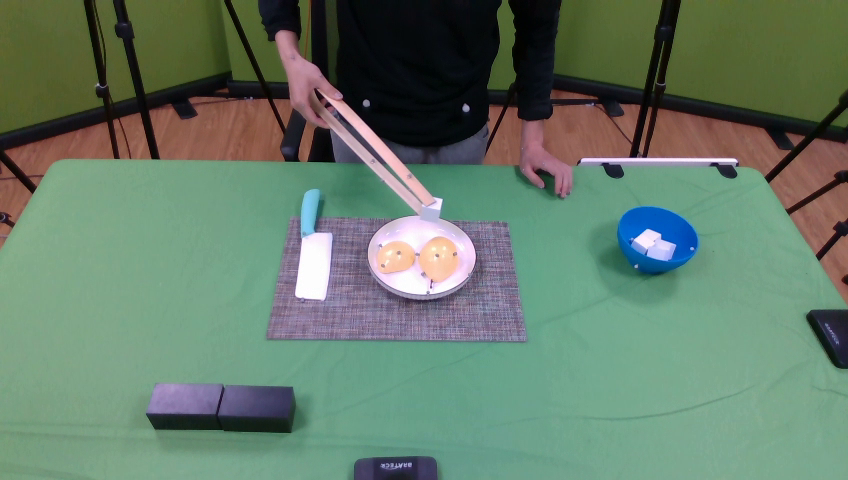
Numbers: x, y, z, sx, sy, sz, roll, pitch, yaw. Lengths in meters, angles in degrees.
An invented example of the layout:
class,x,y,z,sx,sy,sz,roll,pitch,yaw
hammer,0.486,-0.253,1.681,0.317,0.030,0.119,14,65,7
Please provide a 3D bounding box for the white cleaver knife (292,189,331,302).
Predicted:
class,x,y,z,sx,sy,sz,roll,pitch,yaw
white cleaver knife,-0.215,0.006,1.178,0.066,0.021,0.284,5,49,-12

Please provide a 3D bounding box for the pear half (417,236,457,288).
class,x,y,z,sx,sy,sz,roll,pitch,yaw
pear half,0.022,0.039,1.127,0.076,0.056,0.109,6,50,7

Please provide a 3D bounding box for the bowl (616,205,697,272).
class,x,y,z,sx,sy,sz,roll,pitch,yaw
bowl,0.442,0.010,1.183,0.151,0.077,0.150,2,46,-2

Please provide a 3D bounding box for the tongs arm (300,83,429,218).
class,x,y,z,sx,sy,sz,roll,pitch,yaw
tongs arm,-0.119,-0.180,1.165,0.026,0.051,0.383,-30,62,-32

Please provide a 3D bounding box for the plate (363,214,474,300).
class,x,y,z,sx,sy,sz,roll,pitch,yaw
plate,-0.010,0.036,1.146,0.208,0.039,0.206,3,46,-2

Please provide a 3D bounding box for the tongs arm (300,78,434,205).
class,x,y,z,sx,sy,sz,roll,pitch,yaw
tongs arm,-0.113,-0.196,1.146,0.028,0.028,0.386,-32,66,-29

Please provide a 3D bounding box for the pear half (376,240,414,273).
class,x,y,z,sx,sy,sz,roll,pitch,yaw
pear half,-0.058,0.026,1.146,0.070,0.031,0.088,22,43,22
